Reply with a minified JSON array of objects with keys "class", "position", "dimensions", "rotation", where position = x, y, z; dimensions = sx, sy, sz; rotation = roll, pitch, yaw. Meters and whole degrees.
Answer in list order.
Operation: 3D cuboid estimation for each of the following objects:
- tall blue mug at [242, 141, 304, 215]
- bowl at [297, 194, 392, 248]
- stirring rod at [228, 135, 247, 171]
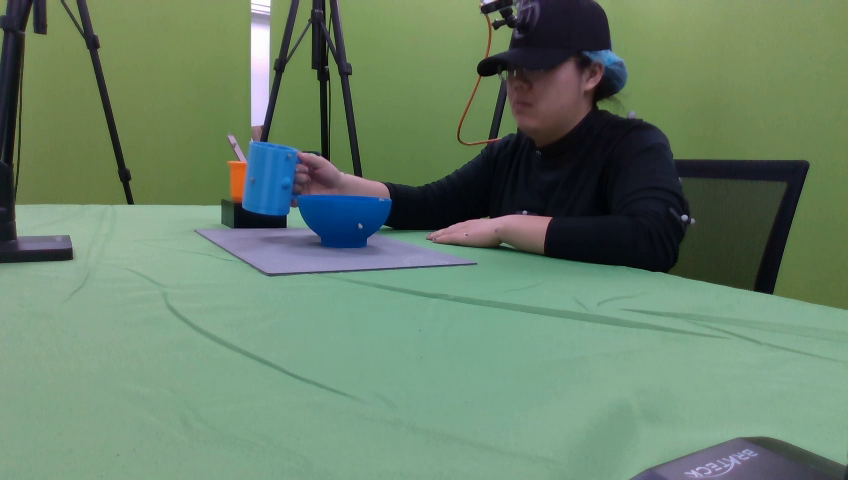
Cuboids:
[{"class":"tall blue mug","position":[-0.251,-0.105,1.007],"dimensions":[0.078,0.108,0.107],"rotation":[11,12,2]},{"class":"bowl","position":[-0.127,-0.030,0.963],"dimensions":[0.151,0.077,0.151],"rotation":[2,7,0]},{"class":"stirring rod","position":[-0.352,-0.148,1.198],"dimensions":[0.014,0.006,0.175],"rotation":[-6,54,-44]}]
